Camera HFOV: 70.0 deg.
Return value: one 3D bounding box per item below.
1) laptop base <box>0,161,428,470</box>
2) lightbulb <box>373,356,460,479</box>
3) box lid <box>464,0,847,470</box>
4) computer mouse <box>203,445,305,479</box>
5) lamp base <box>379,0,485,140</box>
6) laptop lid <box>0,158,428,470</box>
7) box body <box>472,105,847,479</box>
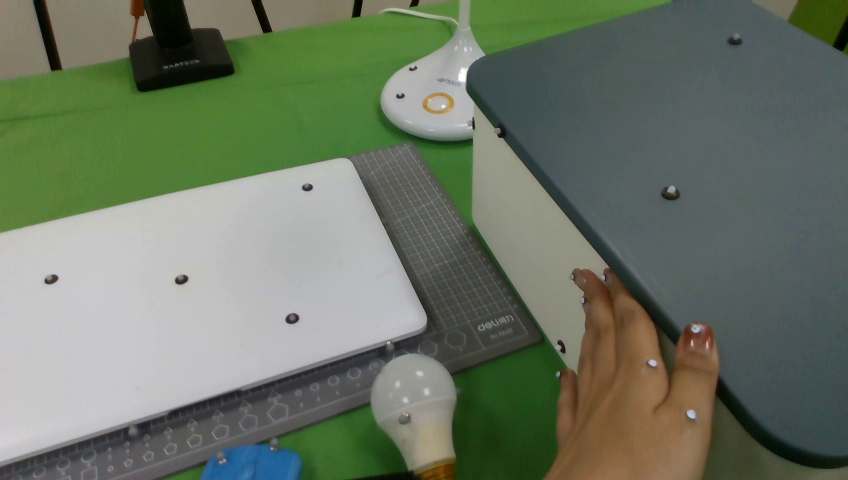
[{"bbox_3d":[-0.199,0.044,0.517,0.355,0.023,0.233,-15,51,-16],"label":"laptop base"},{"bbox_3d":[0.001,0.131,0.413,0.059,0.060,0.106,-13,63,-13],"label":"lightbulb"},{"bbox_3d":[0.210,-0.059,0.397,0.263,0.015,0.367,-20,48,-12],"label":"box lid"},{"bbox_3d":[-0.114,0.179,0.372,0.063,0.041,0.116,1,41,3],"label":"computer mouse"},{"bbox_3d":[0.029,-0.233,0.684,0.160,0.182,0.178,9,43,8],"label":"lamp base"},{"bbox_3d":[-0.199,0.037,0.507,0.357,0.013,0.239,-14,49,-15],"label":"laptop lid"},{"bbox_3d":[0.214,0.005,0.463,0.255,0.162,0.359,-16,47,-16],"label":"box body"}]
